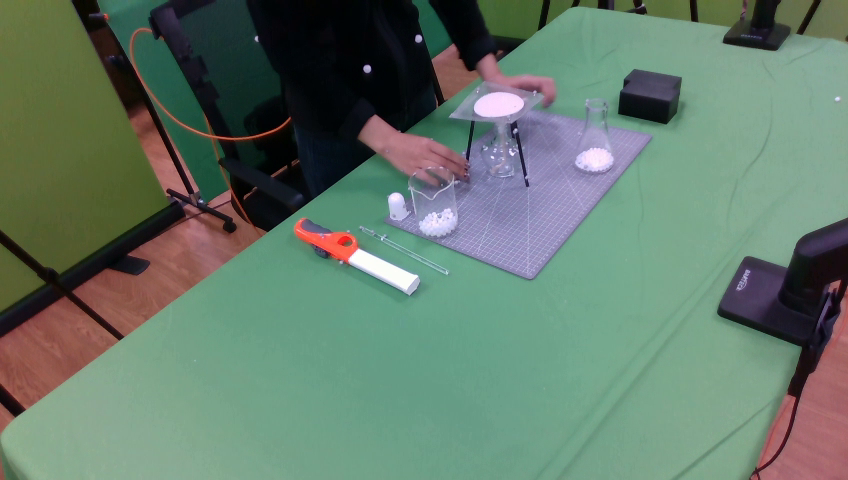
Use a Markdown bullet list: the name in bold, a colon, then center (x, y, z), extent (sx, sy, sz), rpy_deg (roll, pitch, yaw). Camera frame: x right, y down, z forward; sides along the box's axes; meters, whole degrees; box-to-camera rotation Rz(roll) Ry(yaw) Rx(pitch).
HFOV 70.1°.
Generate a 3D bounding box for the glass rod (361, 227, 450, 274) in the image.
- **glass rod**: center (-0.034, 0.014, 0.985), extent (0.198, 0.008, 0.008), rpy_deg (26, 52, 34)

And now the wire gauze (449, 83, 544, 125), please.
- **wire gauze**: center (0.126, -0.233, 1.039), extent (0.120, 0.011, 0.125), rpy_deg (19, 47, 30)

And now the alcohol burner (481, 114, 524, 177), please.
- **alcohol burner**: center (0.141, -0.174, 1.087), extent (0.078, 0.119, 0.077), rpy_deg (-4, 40, 4)

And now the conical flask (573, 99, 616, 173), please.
- **conical flask**: center (0.302, -0.184, 1.061), extent (0.075, 0.122, 0.075), rpy_deg (-5, 40, 5)

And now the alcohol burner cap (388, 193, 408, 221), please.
- **alcohol burner cap**: center (-0.047, -0.059, 1.043), extent (0.034, 0.048, 0.033), rpy_deg (-5, 41, 5)

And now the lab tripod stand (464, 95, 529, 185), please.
- **lab tripod stand**: center (0.138, -0.182, 1.082), extent (0.148, 0.132, 0.147), rpy_deg (-6, 38, 6)

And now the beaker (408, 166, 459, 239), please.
- **beaker**: center (0.018, -0.057, 0.984), extent (0.074, 0.101, 0.083), rpy_deg (-6, 41, 5)

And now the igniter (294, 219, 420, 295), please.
- **igniter**: center (-0.118, 0.022, 0.977), extent (0.274, 0.025, 0.057), rpy_deg (24, 60, 34)
